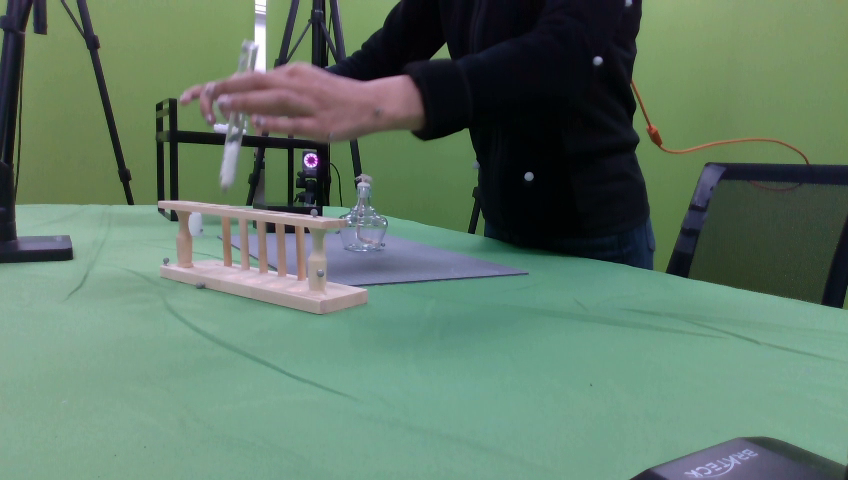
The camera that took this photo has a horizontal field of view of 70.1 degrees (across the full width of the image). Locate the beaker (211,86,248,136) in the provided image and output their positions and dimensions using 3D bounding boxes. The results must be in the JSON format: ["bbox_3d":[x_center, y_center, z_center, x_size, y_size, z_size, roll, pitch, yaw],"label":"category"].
[{"bbox_3d":[-0.413,-0.274,1.297,0.074,0.100,0.083,-5,11,-44],"label":"beaker"}]

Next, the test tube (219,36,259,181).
[{"bbox_3d":[-0.188,-0.130,0.613,0.017,0.150,0.017,16,19,-5],"label":"test tube"}]

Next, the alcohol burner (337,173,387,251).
[{"bbox_3d":[-0.095,-0.043,0.926,0.078,0.119,0.078,3,6,0],"label":"alcohol burner"}]

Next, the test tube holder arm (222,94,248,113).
[{"bbox_3d":[-0.236,-0.168,0.750,0.013,0.015,0.177,5,6,-27],"label":"test tube holder arm"}]

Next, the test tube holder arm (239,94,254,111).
[{"bbox_3d":[-0.212,-0.161,0.712,0.010,0.015,0.087,6,6,-25],"label":"test tube holder arm"}]

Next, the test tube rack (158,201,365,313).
[{"bbox_3d":[-0.173,0.009,0.624,0.241,0.085,0.067,7,9,34],"label":"test tube rack"}]

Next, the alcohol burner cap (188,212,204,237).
[{"bbox_3d":[-0.390,-0.029,1.025,0.034,0.048,0.034,1,8,0],"label":"alcohol burner cap"}]
